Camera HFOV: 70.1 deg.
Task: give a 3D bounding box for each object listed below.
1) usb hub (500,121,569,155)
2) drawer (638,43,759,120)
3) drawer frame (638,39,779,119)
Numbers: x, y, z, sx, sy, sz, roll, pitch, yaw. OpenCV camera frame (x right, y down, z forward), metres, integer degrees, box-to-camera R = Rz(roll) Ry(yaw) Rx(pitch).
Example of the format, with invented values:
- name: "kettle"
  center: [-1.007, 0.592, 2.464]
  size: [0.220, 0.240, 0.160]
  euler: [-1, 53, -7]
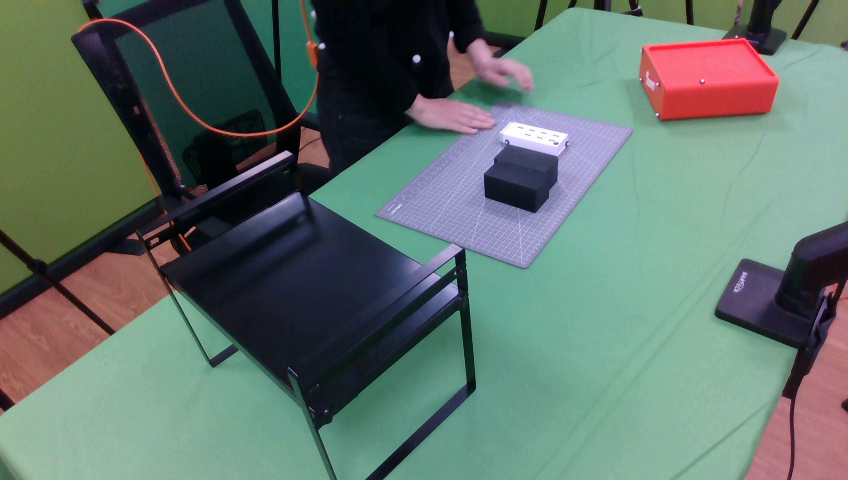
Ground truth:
- name: "usb hub"
  center: [0.212, -0.198, 1.167]
  size: [0.124, 0.025, 0.049]
  euler: [20, 48, 28]
- name: "drawer"
  center: [0.562, -0.326, 1.229]
  size: [0.212, 0.073, 0.193]
  euler: [-2, 40, 5]
- name: "drawer frame"
  center: [0.563, -0.329, 1.227]
  size: [0.213, 0.083, 0.200]
  euler: [-2, 40, 5]
